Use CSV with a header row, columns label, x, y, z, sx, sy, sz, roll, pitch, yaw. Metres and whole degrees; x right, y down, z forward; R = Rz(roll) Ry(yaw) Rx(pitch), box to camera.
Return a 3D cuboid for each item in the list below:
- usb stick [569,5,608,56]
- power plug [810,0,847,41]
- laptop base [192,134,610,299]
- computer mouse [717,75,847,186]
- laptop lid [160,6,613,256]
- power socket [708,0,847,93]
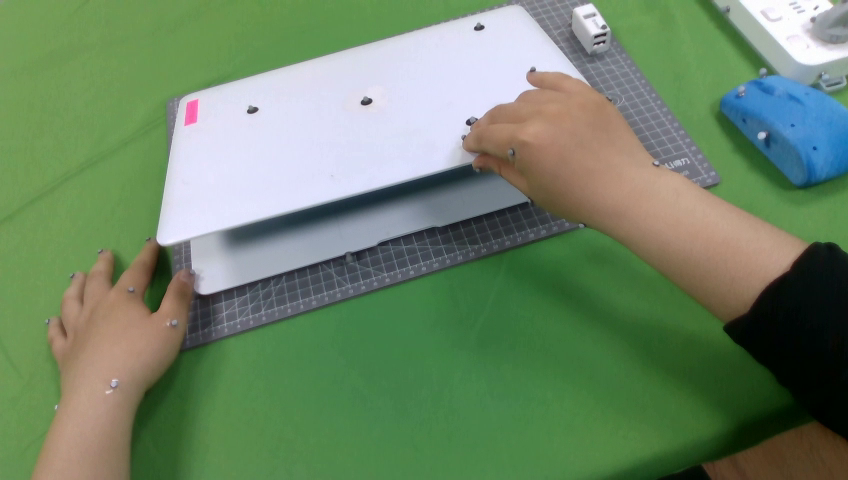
label,x,y,z,sx,sy,sz,roll,pitch,yaw
usb stick,0.159,-0.209,0.594,0.021,0.027,0.058,-19,53,1
power plug,0.371,-0.187,0.518,0.072,0.053,0.035,-6,57,4
laptop base,-0.042,-0.090,0.554,0.354,0.023,0.233,-17,59,-2
computer mouse,0.297,-0.096,0.491,0.063,0.041,0.116,-22,51,-4
laptop lid,-0.049,-0.113,0.524,0.357,0.013,0.239,-15,44,-1
power socket,0.327,-0.226,0.577,0.072,0.033,0.224,-16,55,-1
